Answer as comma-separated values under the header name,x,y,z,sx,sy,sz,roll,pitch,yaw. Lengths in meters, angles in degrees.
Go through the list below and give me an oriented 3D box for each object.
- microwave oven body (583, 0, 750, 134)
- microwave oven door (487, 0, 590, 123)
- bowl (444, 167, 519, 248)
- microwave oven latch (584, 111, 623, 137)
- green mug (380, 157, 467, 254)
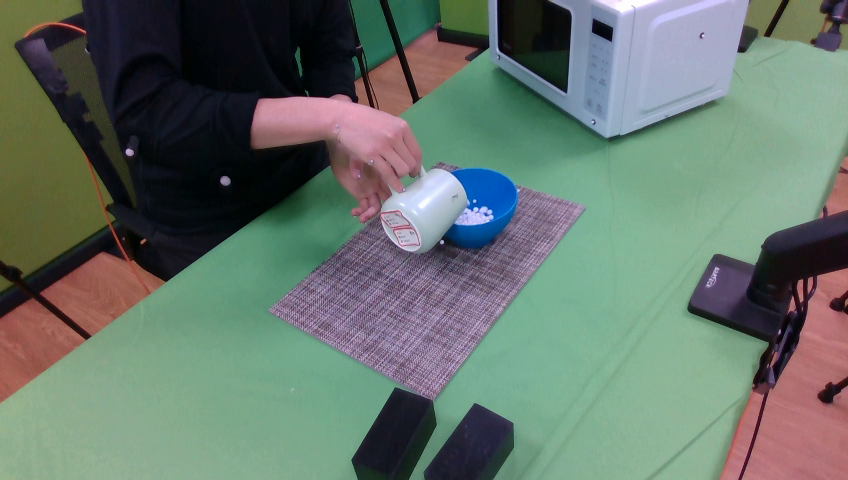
name,x,y,z,sx,sy,sz,roll,pitch,yaw
microwave oven body,0.382,-0.445,1.246,0.327,0.261,0.437,-22,42,-16
microwave oven door,0.232,-0.420,1.231,0.039,0.245,0.352,-22,43,-16
bowl,0.075,-0.041,0.958,0.151,0.077,0.150,-4,41,4
microwave oven latch,0.337,-0.222,1.142,0.030,0.029,0.078,-21,42,-14
green mug,-0.009,-0.055,0.843,0.092,0.126,0.105,-6,31,51
